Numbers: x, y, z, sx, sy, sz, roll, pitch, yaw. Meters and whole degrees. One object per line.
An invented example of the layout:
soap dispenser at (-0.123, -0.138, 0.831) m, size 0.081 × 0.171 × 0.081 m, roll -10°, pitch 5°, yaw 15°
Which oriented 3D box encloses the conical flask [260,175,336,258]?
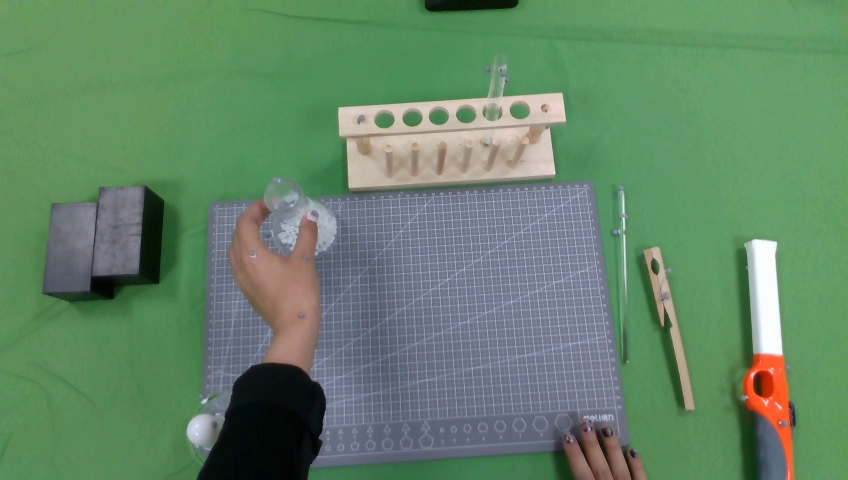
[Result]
conical flask at (-0.138, -0.029, 0.638) m, size 0.075 × 0.122 × 0.075 m, roll 0°, pitch 75°, yaw 0°

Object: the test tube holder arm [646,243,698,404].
test tube holder arm at (0.272, 0.089, 0.666) m, size 0.013 × 0.015 × 0.177 m, roll -21°, pitch 73°, yaw 32°

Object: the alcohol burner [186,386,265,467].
alcohol burner at (-0.198, 0.181, 0.589) m, size 0.078 × 0.120 × 0.077 m, roll 0°, pitch 74°, yaw 1°

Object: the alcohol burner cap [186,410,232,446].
alcohol burner cap at (-0.199, 0.170, 0.554) m, size 0.034 × 0.048 × 0.033 m, roll 0°, pitch 67°, yaw 1°

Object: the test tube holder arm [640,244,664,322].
test tube holder arm at (0.259, 0.048, 0.680) m, size 0.010 × 0.015 × 0.087 m, roll -19°, pitch 74°, yaw 33°

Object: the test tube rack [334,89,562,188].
test tube rack at (0.027, -0.112, 0.683) m, size 0.242 × 0.085 × 0.066 m, roll -4°, pitch 75°, yaw -2°

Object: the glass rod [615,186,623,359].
glass rod at (0.221, 0.034, 0.686) m, size 0.008 × 0.008 × 0.199 m, roll 3°, pitch 78°, yaw 0°

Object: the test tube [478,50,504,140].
test tube at (0.069, -0.148, 0.641) m, size 0.017 × 0.151 × 0.017 m, roll 0°, pitch 70°, yaw 1°

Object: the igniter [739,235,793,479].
igniter at (0.366, 0.129, 0.654) m, size 0.057 × 0.025 × 0.275 m, roll 7°, pitch 76°, yaw -9°
